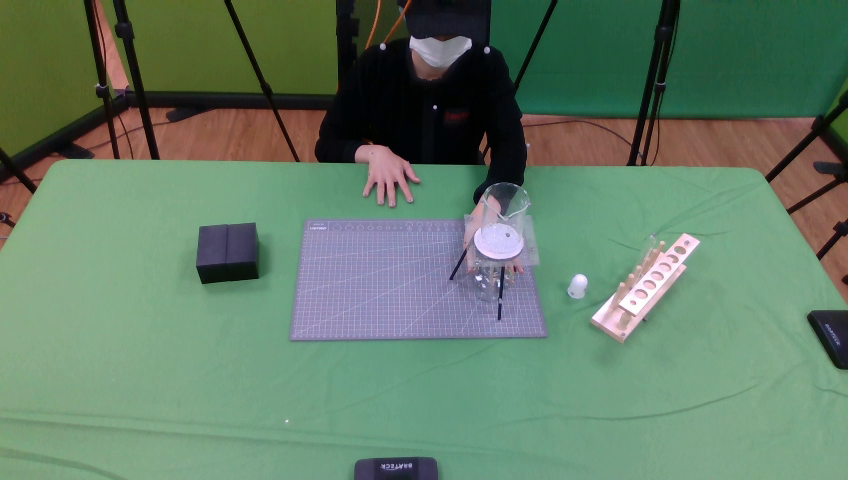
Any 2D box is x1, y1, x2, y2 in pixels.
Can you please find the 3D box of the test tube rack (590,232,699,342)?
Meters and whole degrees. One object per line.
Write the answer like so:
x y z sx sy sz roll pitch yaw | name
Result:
0.407 0.074 1.112 0.066 0.085 0.242 35 53 26 | test tube rack

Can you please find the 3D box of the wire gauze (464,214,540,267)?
0.131 -0.001 1.035 0.121 0.011 0.124 1 44 -2 | wire gauze

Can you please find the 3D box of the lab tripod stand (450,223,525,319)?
0.120 0.046 1.080 0.148 0.132 0.147 1 47 -1 | lab tripod stand

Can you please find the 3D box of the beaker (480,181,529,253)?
0.130 -0.033 0.998 0.074 0.101 0.083 5 47 4 | beaker

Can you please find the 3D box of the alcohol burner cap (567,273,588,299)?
0.287 0.083 1.125 0.034 0.048 0.033 1 45 -1 | alcohol burner cap

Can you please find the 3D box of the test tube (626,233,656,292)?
0.384 0.042 1.079 0.017 0.151 0.017 1 47 -1 | test tube

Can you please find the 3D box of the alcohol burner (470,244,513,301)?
0.122 0.054 1.087 0.078 0.120 0.077 1 45 -1 | alcohol burner
